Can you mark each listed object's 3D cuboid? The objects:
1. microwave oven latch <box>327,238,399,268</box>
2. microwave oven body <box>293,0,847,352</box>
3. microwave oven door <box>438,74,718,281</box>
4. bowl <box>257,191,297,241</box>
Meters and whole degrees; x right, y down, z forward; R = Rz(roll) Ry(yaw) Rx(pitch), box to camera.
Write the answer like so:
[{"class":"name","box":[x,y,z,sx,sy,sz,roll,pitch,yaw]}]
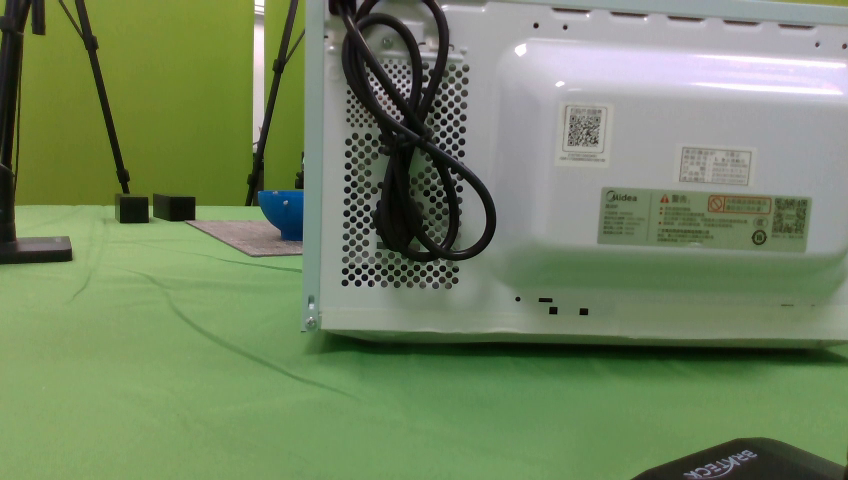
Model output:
[{"class":"microwave oven latch","box":[-0.069,0.015,0.694,0.079,0.029,0.030,3,7,-3]},{"class":"microwave oven body","box":[0.122,-0.055,0.550,0.442,0.260,0.325,3,7,-5]},{"class":"microwave oven door","box":[0.184,-0.090,0.802,0.354,0.243,0.039,7,8,33]},{"class":"bowl","box":[-0.206,-0.041,1.027,0.151,0.077,0.151,3,8,0]}]
